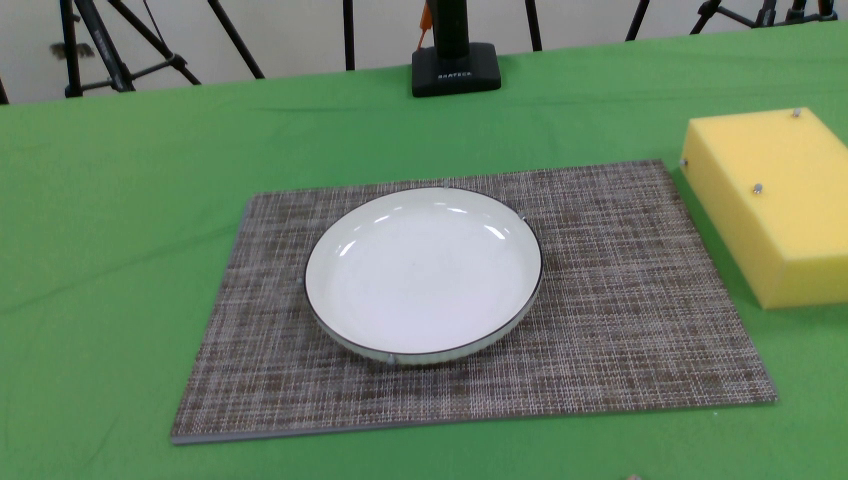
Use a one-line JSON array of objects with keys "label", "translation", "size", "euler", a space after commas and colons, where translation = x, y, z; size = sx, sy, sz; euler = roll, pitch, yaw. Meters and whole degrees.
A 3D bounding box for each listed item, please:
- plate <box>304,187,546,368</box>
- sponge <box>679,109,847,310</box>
[{"label": "plate", "translation": [0.001, 0.031, 0.533], "size": [0.207, 0.039, 0.205], "euler": [-4, 42, 4]}, {"label": "sponge", "translation": [0.329, -0.036, 0.547], "size": [0.118, 0.061, 0.204], "euler": [-6, 42, 2]}]
